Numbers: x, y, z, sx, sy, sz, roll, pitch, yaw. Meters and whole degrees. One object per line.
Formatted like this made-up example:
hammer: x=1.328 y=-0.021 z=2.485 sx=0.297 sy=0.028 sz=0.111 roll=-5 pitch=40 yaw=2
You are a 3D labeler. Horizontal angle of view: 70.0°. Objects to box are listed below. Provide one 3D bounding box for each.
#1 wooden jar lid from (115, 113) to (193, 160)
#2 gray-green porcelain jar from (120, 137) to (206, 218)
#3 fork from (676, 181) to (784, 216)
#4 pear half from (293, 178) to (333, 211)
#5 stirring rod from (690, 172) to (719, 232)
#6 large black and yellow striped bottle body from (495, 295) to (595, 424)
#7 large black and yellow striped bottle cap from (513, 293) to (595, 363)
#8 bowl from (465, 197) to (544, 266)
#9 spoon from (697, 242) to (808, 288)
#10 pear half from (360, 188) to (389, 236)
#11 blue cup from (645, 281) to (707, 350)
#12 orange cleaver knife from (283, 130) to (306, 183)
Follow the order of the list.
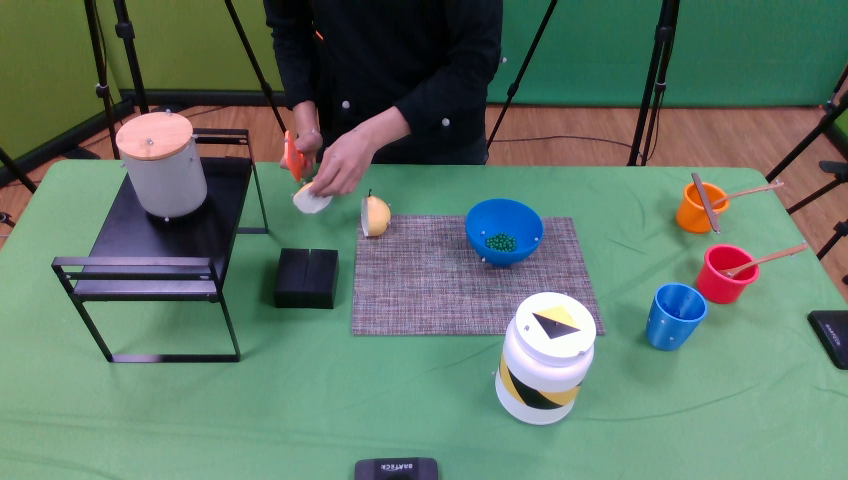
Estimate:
wooden jar lid: x=-0.399 y=-0.151 z=0.900 sx=0.108 sy=0.021 sz=0.107 roll=3 pitch=46 yaw=-3
gray-green porcelain jar: x=-0.403 y=-0.106 z=0.946 sx=0.106 sy=0.127 sz=0.105 roll=3 pitch=46 yaw=-2
fork: x=0.618 y=-0.083 z=1.235 sx=0.019 sy=0.207 sz=0.028 roll=55 pitch=40 yaw=-15
pear half: x=-0.209 y=-0.088 z=1.105 sx=0.088 sy=0.070 sz=0.031 roll=-5 pitch=36 yaw=-48
stirring rod: x=0.566 y=-0.080 z=1.224 sx=0.014 sy=0.006 sz=0.175 roll=3 pitch=46 yaw=1
large black and yellow striped bottle body: x=0.183 y=0.182 z=0.923 sx=0.131 sy=0.185 sz=0.130 roll=2 pitch=46 yaw=-2
large black and yellow striped bottle cap: x=0.186 y=0.123 z=0.863 sx=0.115 sy=0.019 sz=0.114 roll=3 pitch=45 yaw=-3
bowl: x=0.149 y=-0.004 z=1.167 sx=0.151 sy=0.077 sz=0.150 roll=3 pitch=46 yaw=-2
spoon: x=0.601 y=0.045 z=1.115 sx=0.194 sy=0.022 sz=0.041 roll=-29 pitch=35 yaw=30
pear half: x=-0.096 y=-0.060 z=1.181 sx=0.056 sy=0.110 sz=0.076 roll=-14 pitch=52 yaw=-16
blue cup: x=0.425 y=0.136 z=1.042 sx=0.093 sy=0.101 sz=0.092 roll=1 pitch=44 yaw=-1
orange cleaver knife: x=-0.253 y=-0.153 z=1.192 sx=0.012 sy=0.211 sz=0.077 roll=-3 pitch=83 yaw=-2
